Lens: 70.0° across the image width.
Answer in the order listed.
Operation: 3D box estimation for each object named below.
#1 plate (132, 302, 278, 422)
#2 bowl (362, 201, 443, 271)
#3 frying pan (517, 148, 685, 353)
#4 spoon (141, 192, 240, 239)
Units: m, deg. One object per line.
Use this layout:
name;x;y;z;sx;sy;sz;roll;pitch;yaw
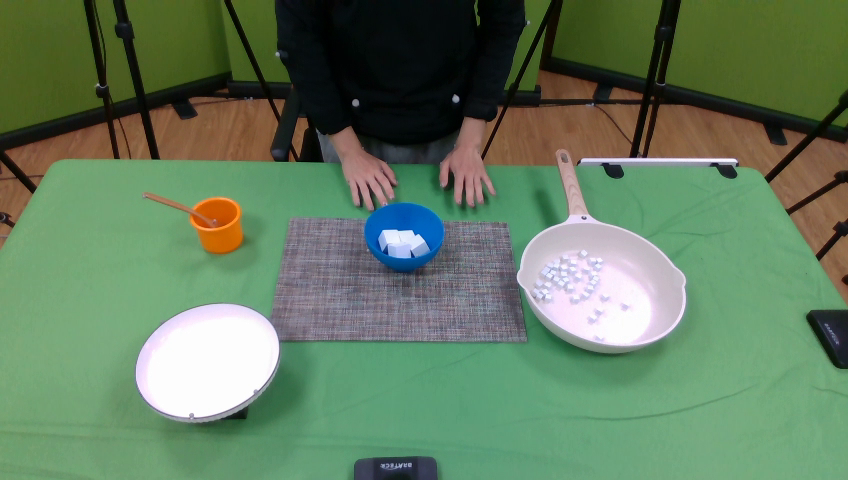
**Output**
plate;-0.325;0.186;0.916;0.208;0.039;0.206;3;44;-2
bowl;-0.041;0.006;1.145;0.151;0.077;0.150;2;46;-2
frying pan;0.310;0.002;1.163;0.307;0.103;0.484;0;55;-5
spoon;-0.428;-0.048;1.123;0.021;0.195;0.041;-38;44;20
